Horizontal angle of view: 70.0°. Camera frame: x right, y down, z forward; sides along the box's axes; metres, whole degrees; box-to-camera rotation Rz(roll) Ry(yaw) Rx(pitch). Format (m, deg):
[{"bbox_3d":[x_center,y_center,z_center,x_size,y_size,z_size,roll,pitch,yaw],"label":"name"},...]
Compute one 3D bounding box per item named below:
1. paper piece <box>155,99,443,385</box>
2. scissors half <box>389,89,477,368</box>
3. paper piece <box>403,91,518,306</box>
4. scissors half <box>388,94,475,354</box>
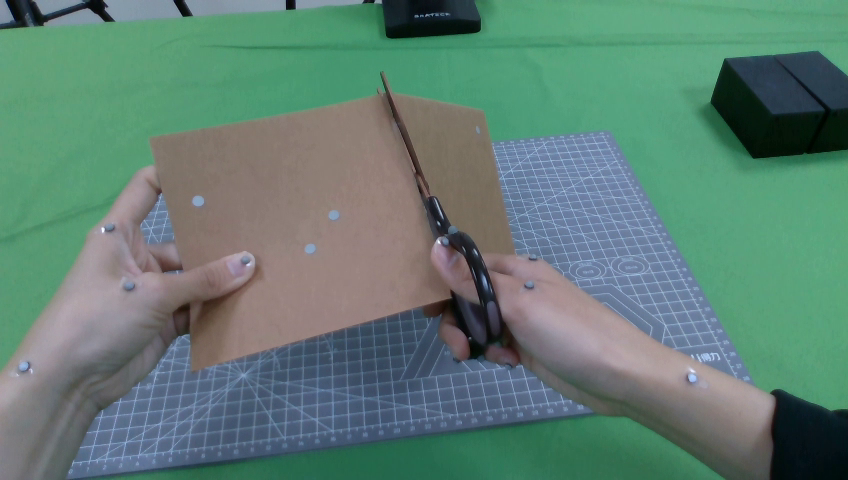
[{"bbox_3d":[-0.066,-0.006,0.330,0.136,0.004,0.134,-14,76,-10],"label":"paper piece"},{"bbox_3d":[0.001,-0.011,0.352,0.013,0.040,0.174,-14,77,-5],"label":"scissors half"},{"bbox_3d":[0.029,-0.026,0.415,0.008,0.136,0.139,-7,2,28],"label":"paper piece"},{"bbox_3d":[-0.001,-0.020,0.333,0.013,0.040,0.173,-17,57,0],"label":"scissors half"}]
